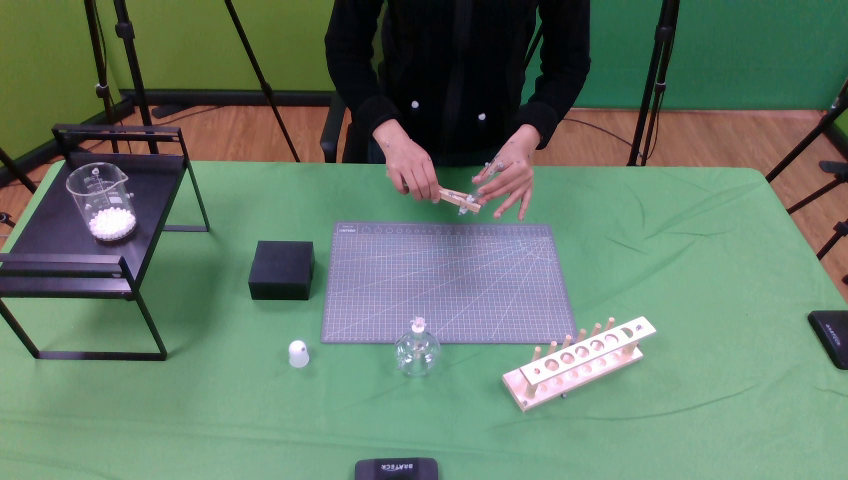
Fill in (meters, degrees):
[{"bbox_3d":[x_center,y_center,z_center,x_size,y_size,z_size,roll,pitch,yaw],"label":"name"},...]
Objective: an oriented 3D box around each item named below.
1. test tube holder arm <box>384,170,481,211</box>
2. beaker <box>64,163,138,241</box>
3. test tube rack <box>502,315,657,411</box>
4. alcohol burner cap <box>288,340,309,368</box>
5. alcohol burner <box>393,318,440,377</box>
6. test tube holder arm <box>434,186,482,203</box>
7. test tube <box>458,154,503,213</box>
[{"bbox_3d":[0.015,-0.088,1.067,0.178,0.015,0.013,19,37,2],"label":"test tube holder arm"},{"bbox_3d":[-0.477,-0.055,0.910,0.084,0.101,0.073,-9,48,-13],"label":"beaker"},{"bbox_3d":[0.253,0.186,0.988,0.242,0.085,0.066,-18,50,-20],"label":"test tube rack"},{"bbox_3d":[-0.207,0.183,0.991,0.034,0.048,0.033,3,46,-3],"label":"alcohol burner cap"},{"bbox_3d":[-0.011,0.166,0.971,0.078,0.120,0.077,1,45,-1],"label":"alcohol burner"},{"bbox_3d":[0.058,-0.078,1.072,0.088,0.015,0.010,13,38,-6],"label":"test tube holder arm"},{"bbox_3d":[0.094,-0.093,1.037,0.017,0.150,0.017,13,52,-17],"label":"test tube"}]
